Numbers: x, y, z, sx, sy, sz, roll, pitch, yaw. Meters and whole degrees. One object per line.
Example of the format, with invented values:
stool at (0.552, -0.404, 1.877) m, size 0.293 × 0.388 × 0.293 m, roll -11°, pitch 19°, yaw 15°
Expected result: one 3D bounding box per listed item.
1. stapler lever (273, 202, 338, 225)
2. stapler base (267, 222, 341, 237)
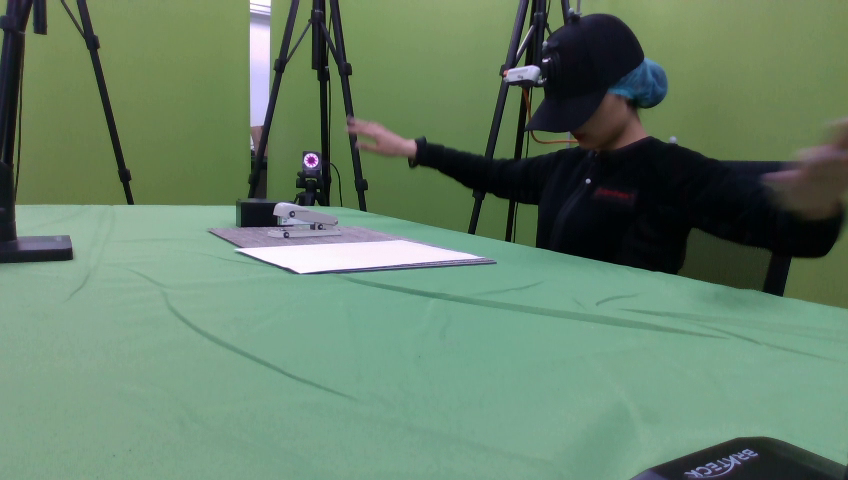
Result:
stapler lever at (-0.206, -0.045, 1.055) m, size 0.119 × 0.040 × 0.026 m, roll -2°, pitch 12°, yaw -41°
stapler base at (-0.208, -0.020, 1.057) m, size 0.131 × 0.024 × 0.041 m, roll -2°, pitch 12°, yaw -41°
